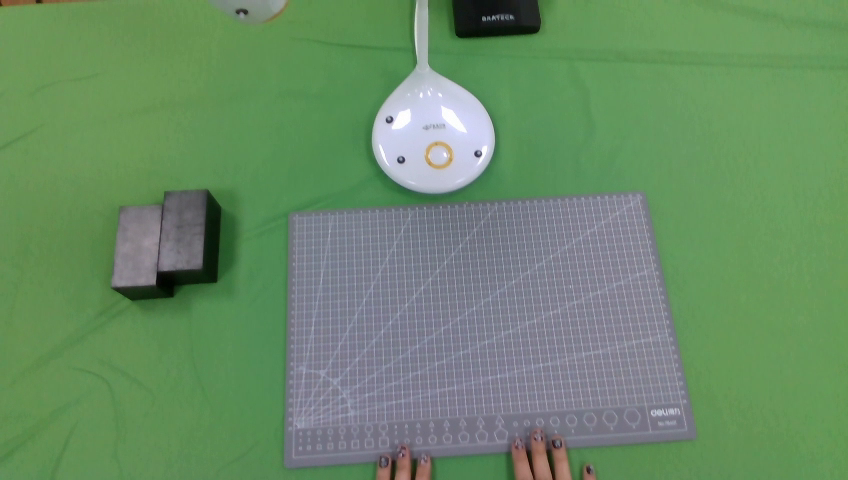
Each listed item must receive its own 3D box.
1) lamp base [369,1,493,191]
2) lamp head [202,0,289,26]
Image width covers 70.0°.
[{"bbox_3d":[0.004,-0.175,0.718,0.161,0.181,0.177,-16,67,-6],"label":"lamp base"},{"bbox_3d":[-0.157,-0.245,0.512,0.112,0.124,0.111,-5,70,14],"label":"lamp head"}]
